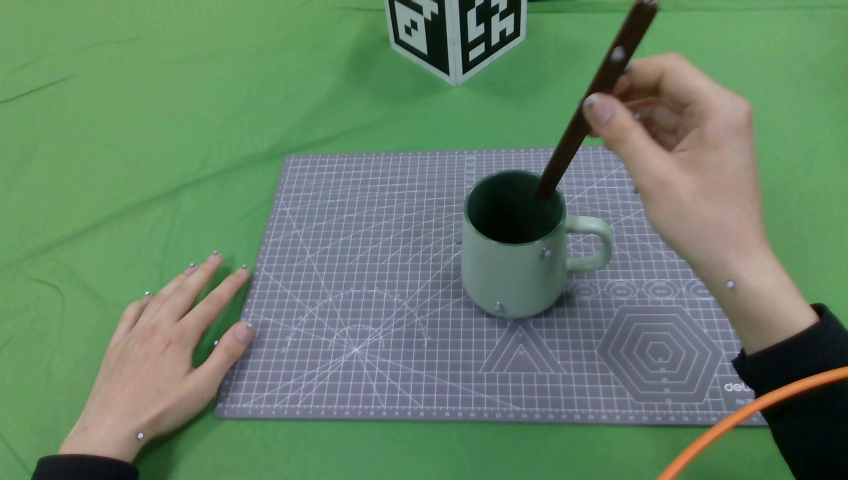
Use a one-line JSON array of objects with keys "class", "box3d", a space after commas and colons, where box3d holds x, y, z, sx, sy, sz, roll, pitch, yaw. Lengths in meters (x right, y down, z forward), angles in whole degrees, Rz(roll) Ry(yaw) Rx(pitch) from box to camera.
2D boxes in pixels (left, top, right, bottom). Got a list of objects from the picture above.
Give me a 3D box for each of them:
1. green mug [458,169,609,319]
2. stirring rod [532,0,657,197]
[{"class": "green mug", "box3d": [0.089, 0.005, 0.501, 0.125, 0.106, 0.091, 1, 53, 7]}, {"class": "stirring rod", "box3d": [0.102, -0.079, 0.387, 0.014, 0.177, 0.005, 12, 58, -3]}]
